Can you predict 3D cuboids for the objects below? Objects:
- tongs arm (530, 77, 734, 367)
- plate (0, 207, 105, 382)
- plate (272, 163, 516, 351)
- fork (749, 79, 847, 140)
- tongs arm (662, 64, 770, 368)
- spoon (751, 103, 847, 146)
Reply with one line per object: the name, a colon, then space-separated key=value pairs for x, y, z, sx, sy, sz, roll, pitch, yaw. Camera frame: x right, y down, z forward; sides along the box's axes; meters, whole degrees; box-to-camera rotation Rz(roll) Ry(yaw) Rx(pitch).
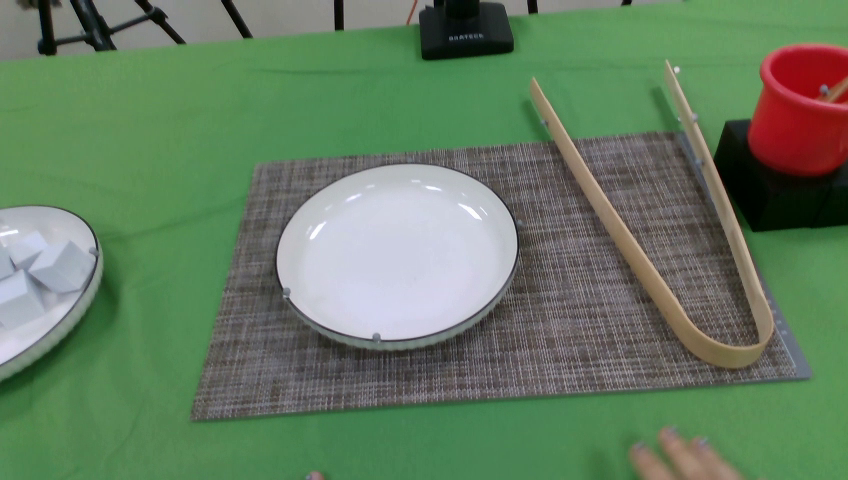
tongs arm: x=0.168 y=-0.045 z=0.568 sx=0.028 sy=0.028 sz=0.383 roll=-8 pitch=46 yaw=-10
plate: x=-0.382 y=0.054 z=0.527 sx=0.209 sy=0.038 sz=0.207 roll=-2 pitch=46 yaw=3
plate: x=-0.025 y=0.013 z=0.527 sx=0.207 sy=0.039 sz=0.205 roll=-3 pitch=46 yaw=3
fork: x=0.369 y=-0.138 z=0.489 sx=0.207 sy=0.019 sz=0.028 roll=-35 pitch=15 yaw=29
tongs arm: x=0.250 y=-0.053 z=0.568 sx=0.051 sy=0.027 sz=0.381 roll=0 pitch=47 yaw=2
spoon: x=0.343 y=-0.106 z=0.460 sx=0.041 sy=0.193 sz=0.021 roll=-31 pitch=93 yaw=-28
